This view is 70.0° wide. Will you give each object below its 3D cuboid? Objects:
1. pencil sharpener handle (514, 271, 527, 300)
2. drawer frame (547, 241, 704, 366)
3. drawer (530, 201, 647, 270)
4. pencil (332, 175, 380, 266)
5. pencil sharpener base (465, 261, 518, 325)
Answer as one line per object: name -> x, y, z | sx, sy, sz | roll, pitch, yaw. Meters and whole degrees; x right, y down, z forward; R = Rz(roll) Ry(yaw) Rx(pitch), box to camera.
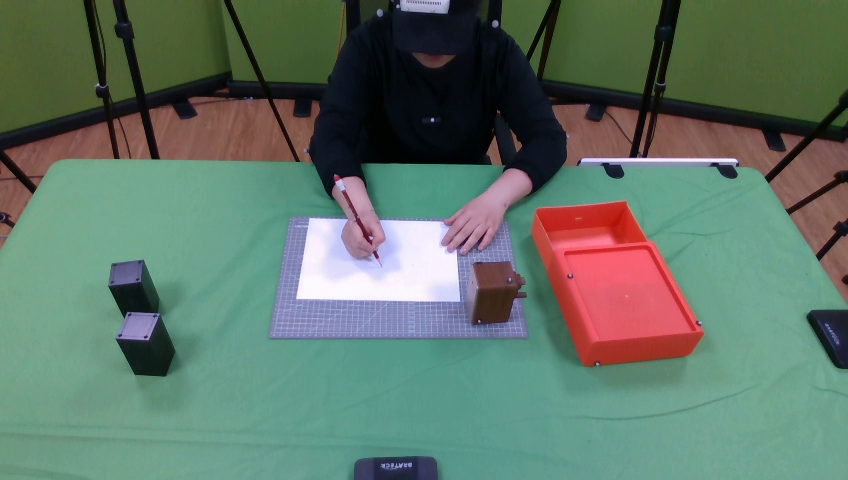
pencil sharpener handle -> 0.169, 0.081, 1.051 | 0.031, 0.068, 0.035 | -3, 48, -7
drawer frame -> 0.348, 0.106, 1.077 | 0.202, 0.083, 0.212 | -4, 47, -9
drawer -> 0.329, 0.025, 1.159 | 0.195, 0.073, 0.210 | -5, 46, -9
pencil -> -0.122, -0.033, 1.119 | 0.012, 0.195, 0.012 | -22, 20, 8
pencil sharpener base -> 0.117, 0.093, 1.053 | 0.077, 0.107, 0.061 | -3, 46, -7
